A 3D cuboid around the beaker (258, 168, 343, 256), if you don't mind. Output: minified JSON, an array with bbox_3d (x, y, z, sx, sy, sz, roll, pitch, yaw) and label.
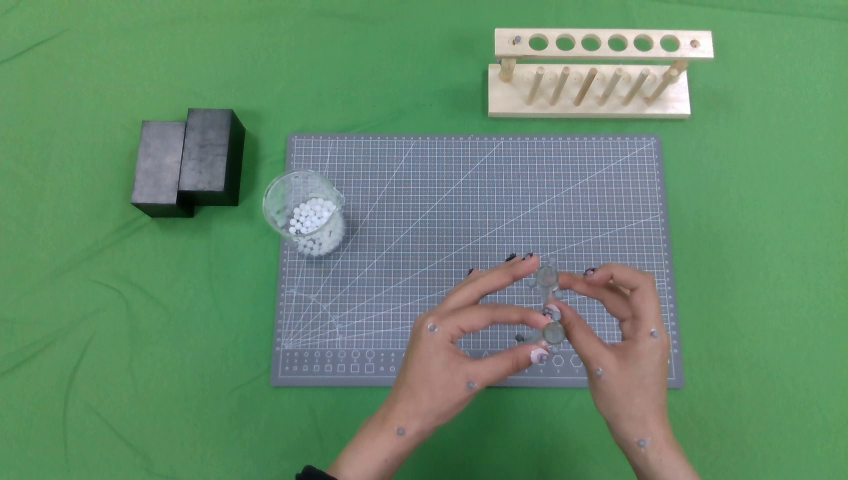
[{"bbox_3d":[-0.126,-0.026,0.657,0.084,0.101,0.073,-7,75,-2],"label":"beaker"}]

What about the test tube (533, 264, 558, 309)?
[{"bbox_3d":[0.096,0.039,0.472,0.017,0.151,0.017,-3,77,12],"label":"test tube"}]

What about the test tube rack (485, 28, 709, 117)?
[{"bbox_3d":[0.196,-0.194,0.711,0.242,0.085,0.066,1,75,0],"label":"test tube rack"}]

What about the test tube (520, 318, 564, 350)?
[{"bbox_3d":[0.090,0.076,0.474,0.017,0.151,0.017,-1,78,3],"label":"test tube"}]
